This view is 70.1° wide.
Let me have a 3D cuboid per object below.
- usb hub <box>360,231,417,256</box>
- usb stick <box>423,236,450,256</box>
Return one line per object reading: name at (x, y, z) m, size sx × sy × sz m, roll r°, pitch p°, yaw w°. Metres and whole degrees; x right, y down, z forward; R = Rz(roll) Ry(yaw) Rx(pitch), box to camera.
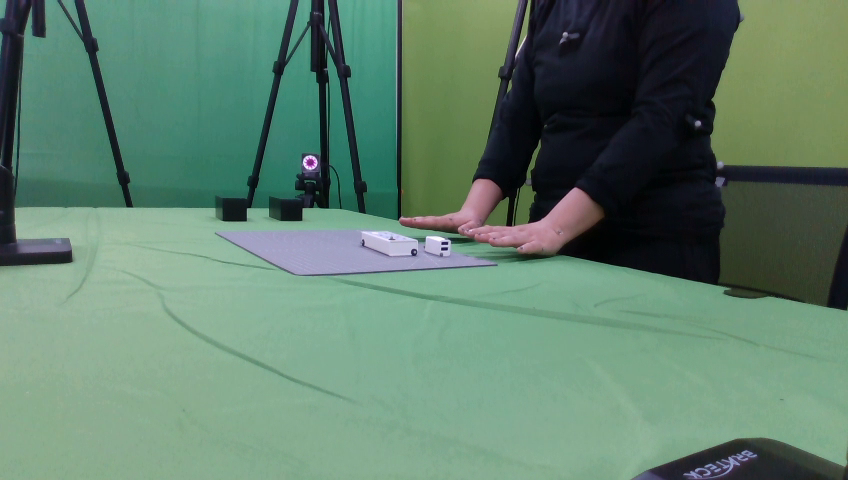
usb hub at (-0.059, 0.004, 0.951) m, size 0.050 × 0.025 × 0.124 m, roll -1°, pitch 8°, yaw -26°
usb stick at (0.017, 0.009, 0.937) m, size 0.021 × 0.027 × 0.059 m, roll -1°, pitch 5°, yaw -29°
